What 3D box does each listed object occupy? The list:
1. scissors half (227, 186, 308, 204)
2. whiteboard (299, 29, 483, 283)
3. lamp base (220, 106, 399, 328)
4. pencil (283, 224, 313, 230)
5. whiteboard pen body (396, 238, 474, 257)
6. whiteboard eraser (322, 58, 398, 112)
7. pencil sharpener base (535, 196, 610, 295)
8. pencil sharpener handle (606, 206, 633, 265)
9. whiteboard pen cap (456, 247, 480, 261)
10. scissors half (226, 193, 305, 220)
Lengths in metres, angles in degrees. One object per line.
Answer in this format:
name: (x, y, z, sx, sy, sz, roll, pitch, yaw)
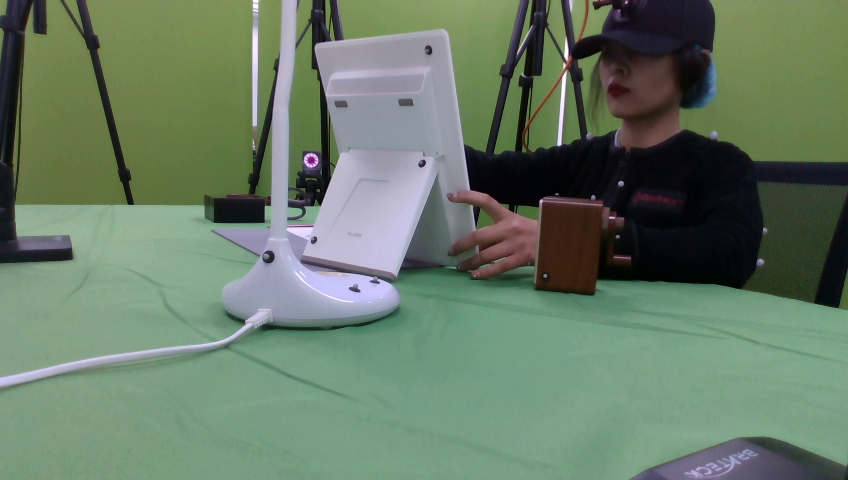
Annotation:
scissors half: (-0.336, -0.096, 1.305, 0.176, 0.040, 0.013, -3, 17, -29)
whiteboard: (-0.074, -0.082, 0.741, 0.216, 0.305, 0.144, 9, 30, 38)
lamp base: (-0.101, -0.023, 0.531, 0.160, 0.180, 0.179, 4, 10, 10)
pencil: (-0.221, -0.028, 1.210, 0.195, 0.012, 0.012, -5, 10, -34)
whiteboard pen body: (0.014, 0.012, 0.886, 0.140, 0.017, 0.017, 9, 10, 38)
whiteboard eraser: (-0.089, -0.204, 0.807, 0.112, 0.055, 0.042, 1, 24, 41)
pencil sharpener base: (0.172, 0.005, 0.695, 0.076, 0.107, 0.061, 5, 7, 16)
pencil sharpener handle: (0.223, -0.004, 0.683, 0.030, 0.068, 0.036, 5, 21, 16)
whiteboard pen cap: (0.061, 0.020, 0.851, 0.033, 0.018, 0.018, 8, 9, 37)
scissors half: (-0.341, -0.077, 1.310, 0.176, 0.040, 0.012, 17, 12, -33)
